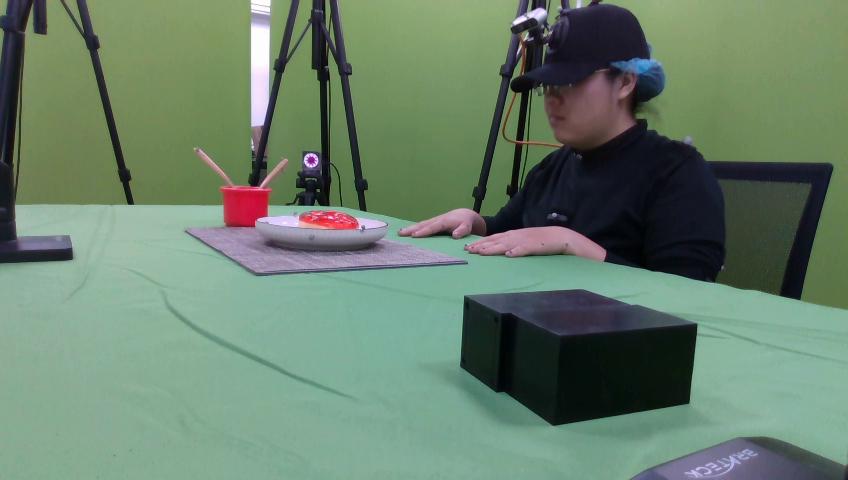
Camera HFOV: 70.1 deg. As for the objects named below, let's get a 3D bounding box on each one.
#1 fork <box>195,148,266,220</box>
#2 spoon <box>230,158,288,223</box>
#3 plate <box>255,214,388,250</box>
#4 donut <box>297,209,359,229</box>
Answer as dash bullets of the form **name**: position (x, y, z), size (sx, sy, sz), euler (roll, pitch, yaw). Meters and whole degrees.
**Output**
- **fork**: position (-0.386, -0.110, 1.199), size (0.028, 0.207, 0.018), euler (-38, -6, -39)
- **spoon**: position (-0.322, -0.101, 1.206), size (0.041, 0.022, 0.194), euler (13, 55, 22)
- **plate**: position (-0.161, -0.013, 0.961), size (0.209, 0.038, 0.209), euler (2, 7, 0)
- **donut**: position (-0.151, -0.023, 0.955), size (0.099, 0.048, 0.099), euler (6, 7, 0)
